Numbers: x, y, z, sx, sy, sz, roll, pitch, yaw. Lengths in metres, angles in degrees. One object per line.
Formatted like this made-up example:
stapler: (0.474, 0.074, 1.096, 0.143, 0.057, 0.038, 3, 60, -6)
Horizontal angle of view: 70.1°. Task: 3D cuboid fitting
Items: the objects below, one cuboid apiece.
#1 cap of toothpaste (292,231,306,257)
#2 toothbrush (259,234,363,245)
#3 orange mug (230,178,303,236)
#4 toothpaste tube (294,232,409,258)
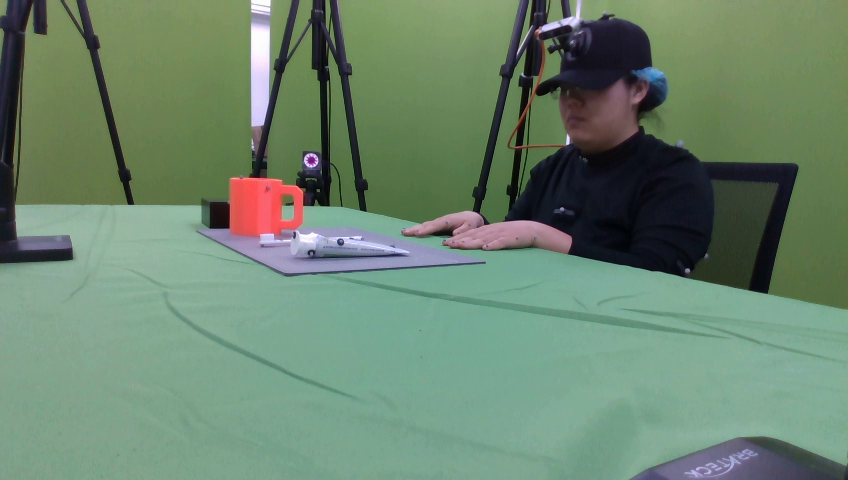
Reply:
cap of toothpaste: (-0.169, 0.005, 0.812, 0.011, 0.037, 0.037, 6, 4, -29)
toothbrush: (-0.175, -0.002, 0.958, 0.183, 0.016, 0.014, -1, -5, -39)
orange mug: (-0.275, -0.060, 1.058, 0.126, 0.101, 0.083, -2, 8, -5)
toothpaste tube: (-0.102, 0.010, 0.853, 0.166, 0.034, 0.055, 3, 11, -34)
